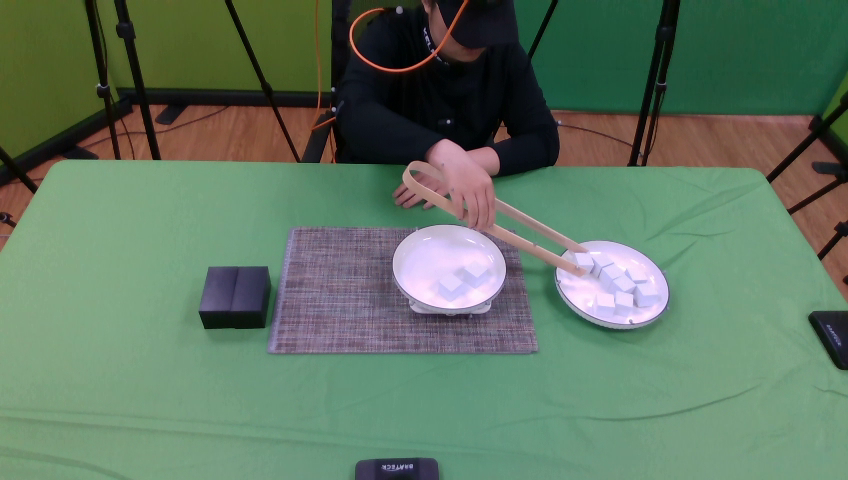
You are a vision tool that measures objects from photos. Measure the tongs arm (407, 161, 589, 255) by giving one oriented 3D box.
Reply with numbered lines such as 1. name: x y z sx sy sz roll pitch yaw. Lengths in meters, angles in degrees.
1. tongs arm: 0.139 -0.056 1.118 0.388 0.028 0.028 25 53 -13

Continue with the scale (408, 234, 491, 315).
1. scale: 0.045 0.055 1.135 0.149 0.032 0.199 1 46 -3

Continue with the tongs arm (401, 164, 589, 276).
1. tongs arm: 0.132 -0.032 1.097 0.386 0.026 0.050 24 50 -13

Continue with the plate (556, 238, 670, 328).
1. plate: 0.347 0.083 1.130 0.209 0.038 0.208 2 47 -2

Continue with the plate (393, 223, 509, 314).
1. plate: 0.048 0.053 1.091 0.208 0.039 0.206 1 46 -1
